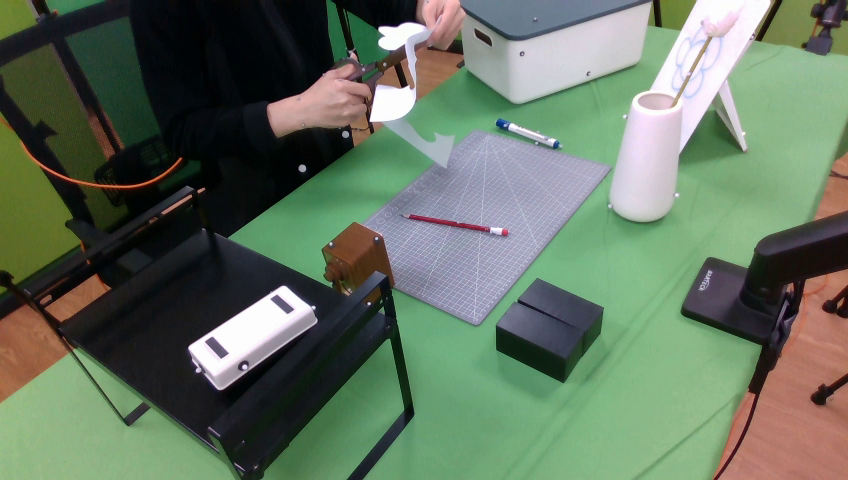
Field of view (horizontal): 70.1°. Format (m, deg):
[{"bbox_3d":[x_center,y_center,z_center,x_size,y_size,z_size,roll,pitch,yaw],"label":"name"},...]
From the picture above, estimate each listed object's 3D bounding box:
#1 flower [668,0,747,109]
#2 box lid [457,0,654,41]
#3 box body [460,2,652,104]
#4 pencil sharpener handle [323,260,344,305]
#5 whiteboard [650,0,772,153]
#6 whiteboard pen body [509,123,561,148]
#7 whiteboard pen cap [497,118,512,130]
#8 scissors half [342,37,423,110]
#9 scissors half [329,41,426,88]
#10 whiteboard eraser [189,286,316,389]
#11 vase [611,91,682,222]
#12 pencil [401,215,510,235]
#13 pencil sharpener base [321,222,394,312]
[{"bbox_3d":[0.354,-0.187,0.879,0.038,0.362,0.044,30,48,14],"label":"flower"},{"bbox_3d":[0.285,-0.522,1.323,0.373,0.015,0.261,-22,43,-16],"label":"box lid"},{"bbox_3d":[0.291,-0.465,1.371,0.365,0.161,0.252,-22,42,-16],"label":"box body"},{"bbox_3d":[-0.131,0.061,0.839,0.035,0.068,0.031,29,56,28],"label":"pencil sharpener handle"},{"bbox_3d":[0.543,-0.298,1.076,0.144,0.305,0.216,12,40,-7],"label":"whiteboard"},{"bbox_3d":[0.209,-0.211,1.196,0.139,0.017,0.017,30,52,33],"label":"whiteboard pen body"},{"bbox_3d":[0.165,-0.235,1.227,0.033,0.018,0.018,31,53,31],"label":"whiteboard pen cap"},{"bbox_3d":[-0.062,-0.254,0.925,0.174,0.040,0.013,-35,13,34],"label":"scissors half"},{"bbox_3d":[-0.074,-0.271,0.919,0.174,0.040,0.013,-12,30,25],"label":"scissors half"},{"bbox_3d":[-0.166,0.096,0.593,0.113,0.042,0.055,-36,47,-29],"label":"whiteboard eraser"},{"bbox_3d":[0.348,-0.125,0.935,0.098,0.201,0.097,-3,40,3],"label":"vase"},{"bbox_3d":[0.049,-0.027,1.007,0.193,0.012,0.012,10,43,21],"label":"pencil"},{"bbox_3d":[-0.096,0.041,0.873,0.061,0.107,0.077,26,54,32],"label":"pencil sharpener base"}]
